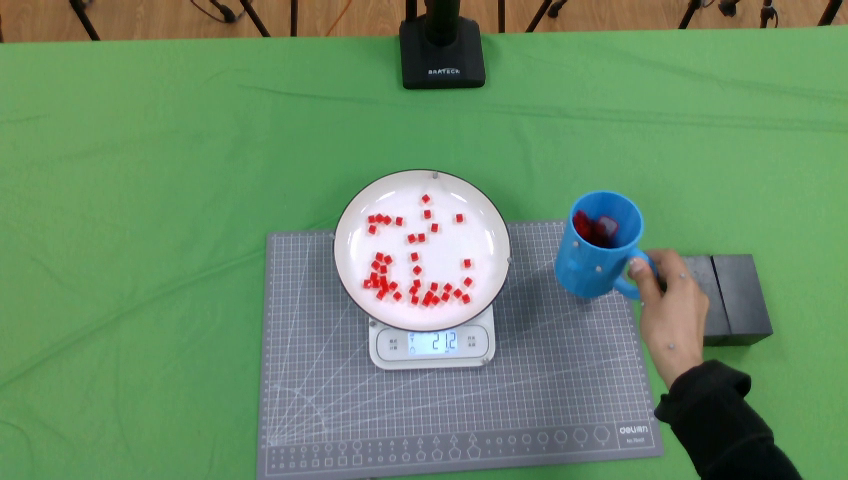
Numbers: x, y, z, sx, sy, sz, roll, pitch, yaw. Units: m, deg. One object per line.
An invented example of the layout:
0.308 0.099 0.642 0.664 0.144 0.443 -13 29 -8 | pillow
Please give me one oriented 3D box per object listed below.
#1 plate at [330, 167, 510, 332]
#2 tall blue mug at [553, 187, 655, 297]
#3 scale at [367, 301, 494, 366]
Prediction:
-0.004 0.011 0.715 0.209 0.038 0.207 2 66 -3 | plate
0.205 0.008 0.675 0.107 0.109 0.077 16 60 12 | tall blue mug
0.005 0.050 0.735 0.149 0.032 0.199 -1 67 -3 | scale
